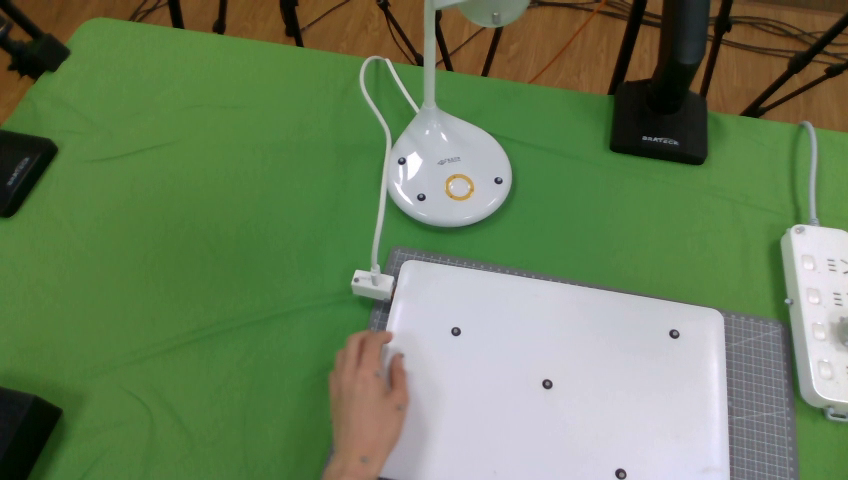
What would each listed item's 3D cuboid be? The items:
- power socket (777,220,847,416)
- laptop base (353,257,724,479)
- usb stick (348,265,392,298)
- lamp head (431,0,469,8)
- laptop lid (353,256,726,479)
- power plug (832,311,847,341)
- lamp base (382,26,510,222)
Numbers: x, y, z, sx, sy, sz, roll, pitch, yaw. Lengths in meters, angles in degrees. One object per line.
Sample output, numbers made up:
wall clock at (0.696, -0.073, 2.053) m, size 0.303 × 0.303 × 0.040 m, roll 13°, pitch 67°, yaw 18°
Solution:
power socket at (0.434, 0.074, 0.656) m, size 0.072 × 0.033 × 0.225 m, roll 9°, pitch 60°, yaw 4°
laptop base at (0.123, 0.148, 0.627) m, size 0.354 × 0.023 × 0.234 m, roll 9°, pitch 63°, yaw 6°
usb stick at (-0.053, 0.048, 0.672) m, size 0.059 × 0.027 × 0.021 m, roll 14°, pitch 55°, yaw 5°
lamp head at (0.046, -0.238, 0.435) m, size 0.112 × 0.111 × 0.123 m, roll -17°, pitch 104°, yaw -8°
laptop lid at (0.122, 0.144, 0.615) m, size 0.356 × 0.013 × 0.240 m, roll 10°, pitch 63°, yaw 7°
power plug at (0.457, 0.094, 0.617) m, size 0.072 × 0.053 × 0.035 m, roll 19°, pitch 62°, yaw 10°
lamp base at (0.020, -0.139, 0.701) m, size 0.161 × 0.182 × 0.177 m, roll -24°, pitch 59°, yaw -13°
